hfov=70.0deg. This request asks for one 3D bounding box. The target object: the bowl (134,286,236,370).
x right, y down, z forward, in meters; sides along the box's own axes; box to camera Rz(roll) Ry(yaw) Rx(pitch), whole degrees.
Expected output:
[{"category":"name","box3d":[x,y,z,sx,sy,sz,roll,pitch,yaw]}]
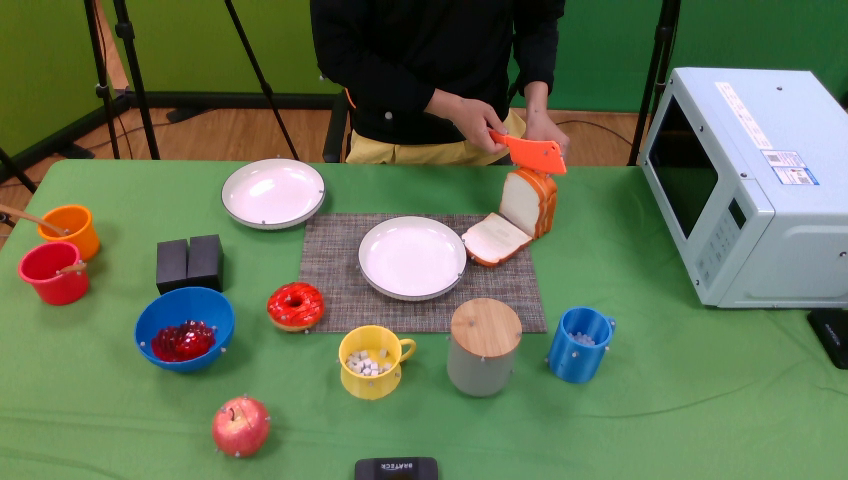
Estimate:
[{"category":"bowl","box3d":[-0.377,0.155,0.981,0.151,0.077,0.150,2,46,-2]}]

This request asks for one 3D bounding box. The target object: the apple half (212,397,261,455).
[{"category":"apple half","box3d":[-0.276,0.276,0.877,0.053,0.075,0.080,-29,58,-21]}]

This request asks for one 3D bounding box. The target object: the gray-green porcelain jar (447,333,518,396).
[{"category":"gray-green porcelain jar","box3d":[0.091,0.178,0.960,0.106,0.127,0.105,2,46,-2]}]

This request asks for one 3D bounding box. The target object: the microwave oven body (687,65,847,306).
[{"category":"microwave oven body","box3d":[0.669,-0.111,1.176,0.326,0.261,0.439,0,46,-3]}]

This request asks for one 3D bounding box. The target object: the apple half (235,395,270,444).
[{"category":"apple half","box3d":[-0.245,0.259,0.893,0.033,0.082,0.081,-29,55,-22]}]

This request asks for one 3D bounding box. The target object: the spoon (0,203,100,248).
[{"category":"spoon","box3d":[-0.683,-0.031,1.088,0.195,0.021,0.041,33,33,-38]}]

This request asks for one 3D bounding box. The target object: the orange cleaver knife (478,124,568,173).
[{"category":"orange cleaver knife","box3d":[0.188,-0.178,1.171,0.012,0.077,0.210,-38,43,-27]}]

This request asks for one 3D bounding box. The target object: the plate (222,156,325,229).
[{"category":"plate","box3d":[-0.308,-0.095,1.251,0.209,0.038,0.208,2,46,-2]}]

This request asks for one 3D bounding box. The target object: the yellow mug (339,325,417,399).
[{"category":"yellow mug","box3d":[-0.072,0.190,0.978,0.131,0.064,0.099,-17,50,-20]}]

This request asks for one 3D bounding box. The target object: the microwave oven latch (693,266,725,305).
[{"category":"microwave oven latch","box3d":[0.523,0.082,1.115,0.030,0.029,0.078,2,46,-1]}]

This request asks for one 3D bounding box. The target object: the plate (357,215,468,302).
[{"category":"plate","box3d":[-0.022,0.037,1.141,0.208,0.039,0.206,2,46,-2]}]

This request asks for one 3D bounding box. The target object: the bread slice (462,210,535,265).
[{"category":"bread slice","box3d":[0.138,-0.003,1.196,0.131,0.019,0.104,-32,57,-33]}]

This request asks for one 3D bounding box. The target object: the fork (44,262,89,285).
[{"category":"fork","box3d":[-0.598,0.054,1.014,0.207,0.019,0.028,-15,29,45]}]

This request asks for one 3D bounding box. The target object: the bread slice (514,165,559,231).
[{"category":"bread slice","box3d":[0.228,-0.090,1.222,0.018,0.135,0.106,-33,57,-26]}]

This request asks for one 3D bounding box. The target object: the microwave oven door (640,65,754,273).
[{"category":"microwave oven door","box3d":[0.523,-0.147,1.193,0.039,0.245,0.353,0,47,-3]}]

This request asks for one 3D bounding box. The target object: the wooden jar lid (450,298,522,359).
[{"category":"wooden jar lid","box3d":[0.093,0.135,0.914,0.108,0.021,0.107,2,48,-3]}]

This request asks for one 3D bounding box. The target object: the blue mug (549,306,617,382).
[{"category":"blue mug","box3d":[0.269,0.166,0.998,0.116,0.106,0.082,-19,51,-21]}]

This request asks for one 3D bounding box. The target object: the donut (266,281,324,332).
[{"category":"donut","box3d":[-0.222,0.114,1.049,0.099,0.048,0.098,2,45,-2]}]
